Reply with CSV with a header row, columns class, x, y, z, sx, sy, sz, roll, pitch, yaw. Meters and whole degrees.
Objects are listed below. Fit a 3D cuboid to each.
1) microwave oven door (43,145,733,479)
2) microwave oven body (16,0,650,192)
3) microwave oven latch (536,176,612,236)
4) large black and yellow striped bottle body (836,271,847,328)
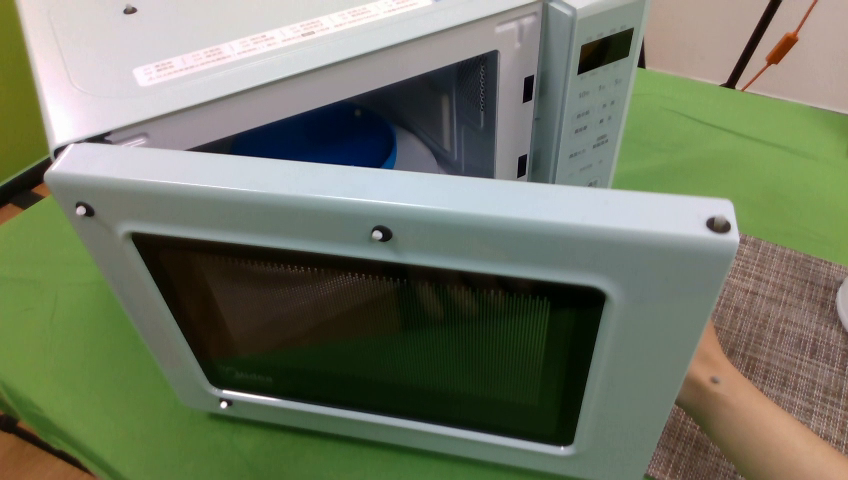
class,x,y,z,sx,sy,sz,roll,pitch,yaw
microwave oven door,-0.026,0.056,0.386,0.355,0.246,0.039,6,45,10
microwave oven body,-0.080,-0.121,0.583,0.442,0.263,0.322,-24,48,-19
microwave oven latch,0.153,-0.034,0.616,0.079,0.030,0.030,-23,47,-18
large black and yellow striped bottle body,0.424,0.008,0.465,0.131,0.186,0.129,-2,44,2
